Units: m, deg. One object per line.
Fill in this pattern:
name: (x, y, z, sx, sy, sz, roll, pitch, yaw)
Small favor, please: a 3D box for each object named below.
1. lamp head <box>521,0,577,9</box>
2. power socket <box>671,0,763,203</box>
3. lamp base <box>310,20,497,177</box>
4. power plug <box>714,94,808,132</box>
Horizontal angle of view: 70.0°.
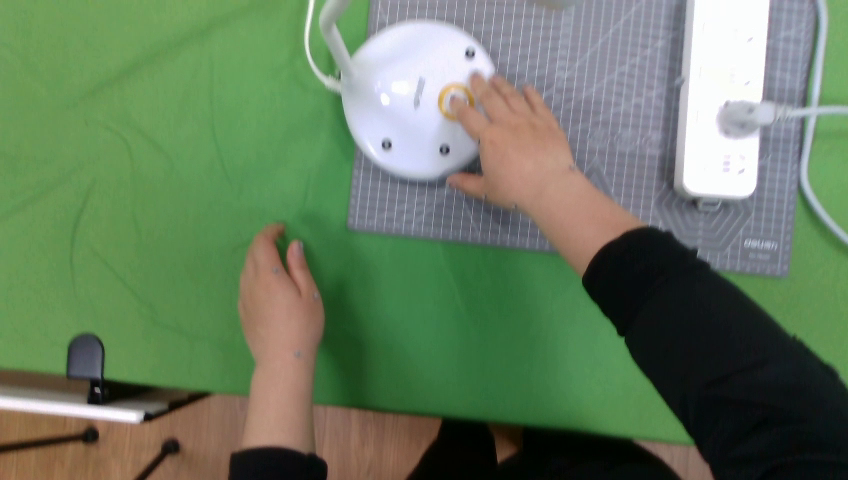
lamp head: (0.021, -0.165, 0.248, 0.123, 0.112, 0.112, 8, 89, -18)
power socket: (0.288, -0.151, 0.599, 0.072, 0.032, 0.226, 4, 89, 3)
lamp base: (-0.024, -0.148, 0.545, 0.179, 0.180, 0.160, 2, 88, 7)
power plug: (0.315, -0.117, 0.579, 0.072, 0.052, 0.035, 14, 91, 1)
